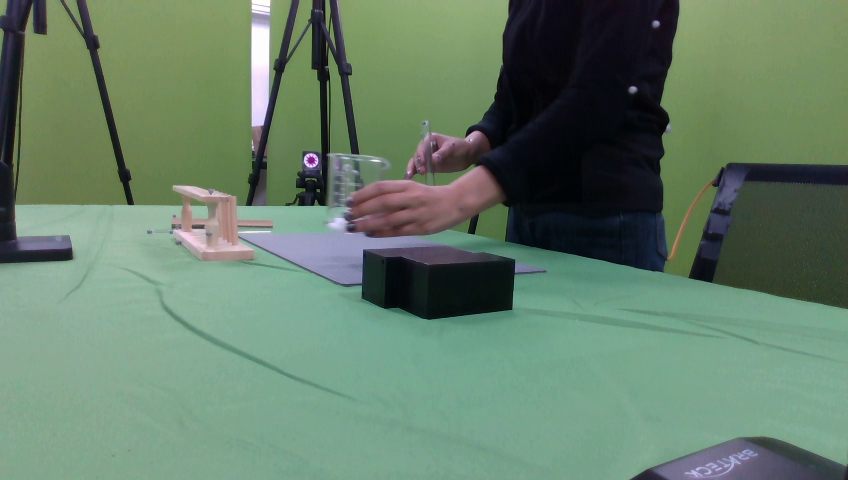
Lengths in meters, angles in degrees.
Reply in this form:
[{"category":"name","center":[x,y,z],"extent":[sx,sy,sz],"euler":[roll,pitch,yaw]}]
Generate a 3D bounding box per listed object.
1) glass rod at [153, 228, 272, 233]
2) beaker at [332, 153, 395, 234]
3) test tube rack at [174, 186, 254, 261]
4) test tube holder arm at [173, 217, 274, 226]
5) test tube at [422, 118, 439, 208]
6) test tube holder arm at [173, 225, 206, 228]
[{"category":"glass rod","center":[-0.368,-0.017,1.065],"extent":[0.201,0.008,0.008],"euler":[-2,8,-27]},{"category":"beaker","center":[-0.080,-0.060,0.787],"extent":[0.084,0.100,0.073],"euler":[2,5,-21]},{"category":"test tube rack","center":[-0.314,-0.031,0.889],"extent":[0.067,0.085,0.241],"euler":[-2,8,-30]},{"category":"test tube holder arm","center":[-0.371,-0.033,1.127],"extent":[0.179,0.015,0.013],"euler":[-1,-22,-25]},{"category":"test tube","center":[0.011,-0.127,1.008],"extent":[0.017,0.150,0.017],"euler":[-5,0,0]},{"category":"test tube holder arm","center":[-0.414,-0.030,1.113],"extent":[0.088,0.015,0.010],"euler":[-1,-22,-25]}]
